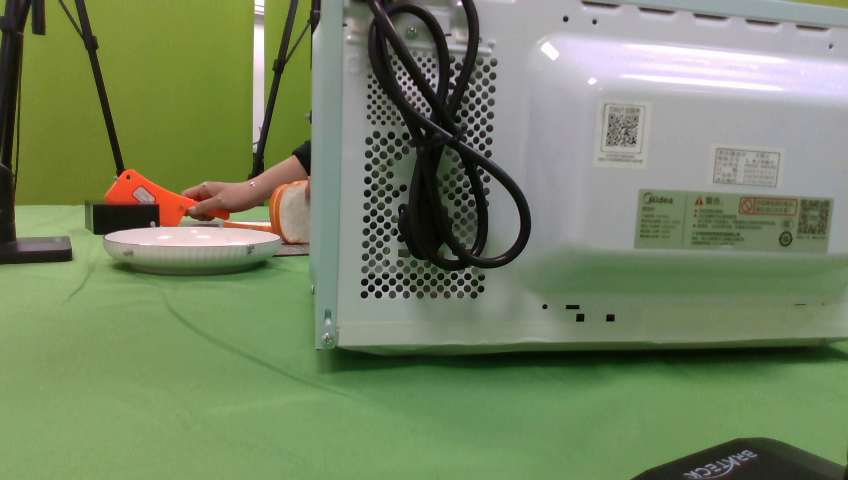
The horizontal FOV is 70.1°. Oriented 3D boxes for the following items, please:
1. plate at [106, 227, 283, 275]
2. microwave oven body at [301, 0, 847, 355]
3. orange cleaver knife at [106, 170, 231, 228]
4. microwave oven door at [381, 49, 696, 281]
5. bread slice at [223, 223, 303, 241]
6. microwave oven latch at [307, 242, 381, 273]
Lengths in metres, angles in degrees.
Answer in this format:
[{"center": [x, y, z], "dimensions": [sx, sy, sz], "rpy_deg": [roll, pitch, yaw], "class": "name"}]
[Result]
[{"center": [-0.288, 0.013, 0.772], "dimensions": [0.208, 0.039, 0.207], "rpy_deg": [2, 7, 0], "class": "plate"}, {"center": [0.120, -0.053, 0.535], "dimensions": [0.443, 0.260, 0.325], "rpy_deg": [2, 7, -11], "class": "microwave oven body"}, {"center": [-0.458, -0.060, 1.096], "dimensions": [0.212, 0.077, 0.012], "rpy_deg": [23, -4, -37], "class": "orange cleaver knife"}, {"center": [0.135, -0.077, 0.685], "dimensions": [0.357, 0.243, 0.039], "rpy_deg": [1, 8, -12], "class": "microwave oven door"}, {"center": [-0.274, -0.013, 1.041], "dimensions": [0.135, 0.018, 0.106], "rpy_deg": [8, -3, -42], "class": "bread slice"}, {"center": [-0.086, 0.018, 0.656], "dimensions": [0.079, 0.029, 0.030], "rpy_deg": [2, 7, -10], "class": "microwave oven latch"}]
